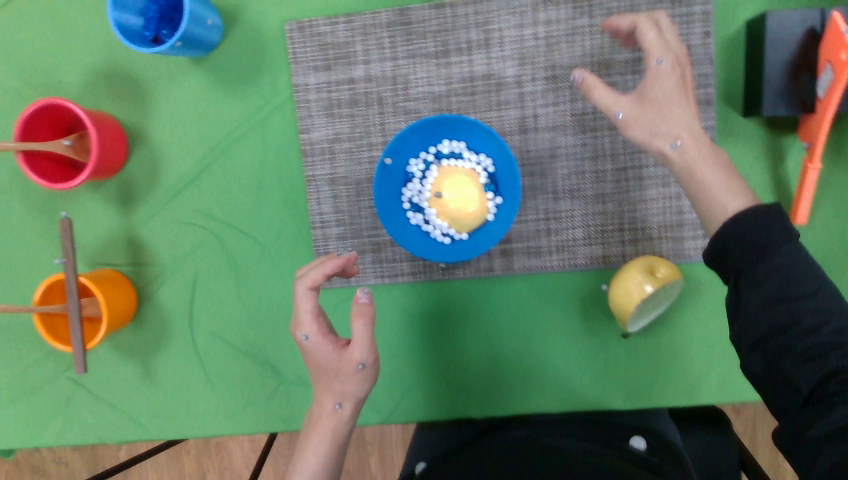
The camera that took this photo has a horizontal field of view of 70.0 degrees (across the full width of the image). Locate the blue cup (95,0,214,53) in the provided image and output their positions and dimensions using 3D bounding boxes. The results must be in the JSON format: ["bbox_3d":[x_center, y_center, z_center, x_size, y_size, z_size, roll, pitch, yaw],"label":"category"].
[{"bbox_3d":[-0.270,-0.235,0.631,0.092,0.100,0.093,1,99,7],"label":"blue cup"}]

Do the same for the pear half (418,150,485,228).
[{"bbox_3d":[0.025,-0.055,0.634,0.070,0.031,0.088,-31,91,8],"label":"pear half"}]

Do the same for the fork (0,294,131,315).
[{"bbox_3d":[-0.439,0.072,0.673,0.209,0.018,0.028,6,112,-40],"label":"fork"}]

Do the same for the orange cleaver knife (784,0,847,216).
[{"bbox_3d":[0.378,-0.123,0.598,0.012,0.076,0.213,-2,128,12],"label":"orange cleaver knife"}]

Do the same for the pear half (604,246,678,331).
[{"bbox_3d":[0.225,0.055,0.659,0.076,0.055,0.110,-11,134,-25],"label":"pear half"}]

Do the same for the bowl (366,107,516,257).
[{"bbox_3d":[0.020,-0.062,0.640,0.151,0.076,0.151,1,99,6],"label":"bowl"}]

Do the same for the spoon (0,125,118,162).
[{"bbox_3d":[-0.436,-0.103,0.648,0.195,0.021,0.042,-7,103,-37],"label":"spoon"}]

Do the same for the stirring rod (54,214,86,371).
[{"bbox_3d":[-0.388,0.060,0.664,0.014,0.006,0.176,-1,100,2],"label":"stirring rod"}]
